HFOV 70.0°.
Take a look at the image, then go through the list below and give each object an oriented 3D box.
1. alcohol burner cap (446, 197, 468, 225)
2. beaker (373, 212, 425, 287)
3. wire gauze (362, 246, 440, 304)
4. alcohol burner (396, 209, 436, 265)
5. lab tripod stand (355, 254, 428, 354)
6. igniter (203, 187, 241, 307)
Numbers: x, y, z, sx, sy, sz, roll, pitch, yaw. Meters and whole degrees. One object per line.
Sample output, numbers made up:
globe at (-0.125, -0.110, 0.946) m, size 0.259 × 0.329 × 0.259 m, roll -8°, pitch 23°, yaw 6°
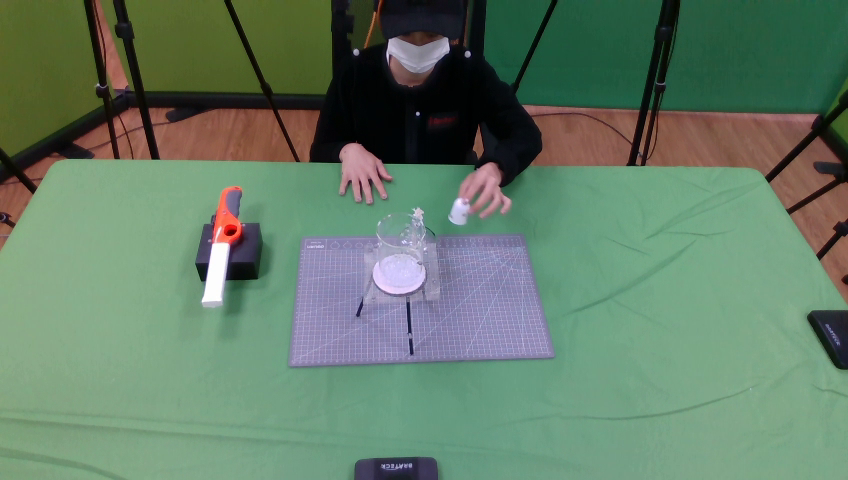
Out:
alcohol burner cap at (0.060, -0.054, 1.073) m, size 0.034 × 0.048 × 0.033 m, roll 8°, pitch 40°, yaw -7°
beaker at (-0.036, 0.019, 0.936) m, size 0.074 × 0.101 × 0.083 m, roll -29°, pitch 54°, yaw -26°
wire gauze at (-0.038, 0.052, 0.972) m, size 0.121 × 0.011 × 0.124 m, roll 0°, pitch 44°, yaw -5°
alcohol burner at (-0.015, -0.011, 1.141) m, size 0.078 × 0.120 × 0.077 m, roll 2°, pitch 44°, yaw -1°
lab tripod stand at (-0.046, 0.100, 1.017) m, size 0.148 × 0.132 × 0.147 m, roll 1°, pitch 47°, yaw -1°
igniter at (-0.365, 0.003, 1.098) m, size 0.057 × 0.025 × 0.274 m, roll -1°, pitch 49°, yaw -7°
